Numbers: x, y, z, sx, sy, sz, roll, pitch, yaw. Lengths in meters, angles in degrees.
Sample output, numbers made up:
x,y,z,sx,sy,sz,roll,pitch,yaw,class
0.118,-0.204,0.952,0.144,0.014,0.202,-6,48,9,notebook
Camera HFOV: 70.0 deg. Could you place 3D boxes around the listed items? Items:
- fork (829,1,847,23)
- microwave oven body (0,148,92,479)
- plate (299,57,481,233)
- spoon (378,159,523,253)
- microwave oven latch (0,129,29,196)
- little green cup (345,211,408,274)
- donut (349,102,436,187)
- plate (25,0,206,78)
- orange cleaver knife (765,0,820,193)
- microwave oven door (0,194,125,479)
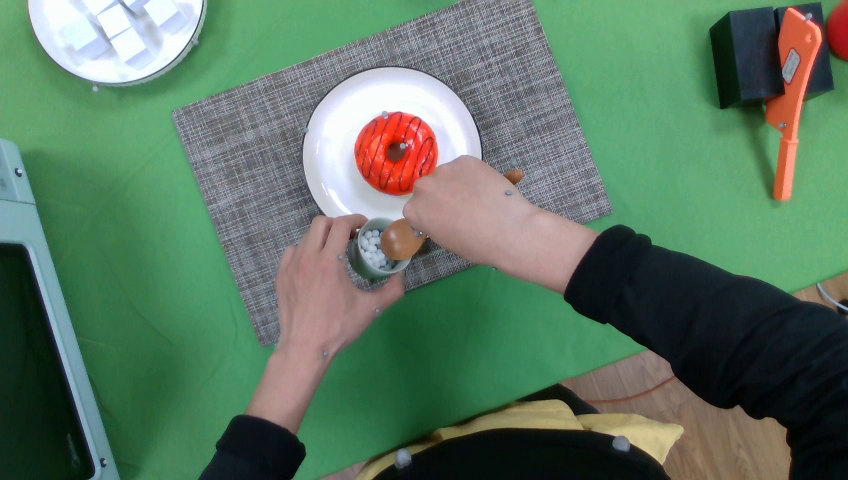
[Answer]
x,y,z,sx,sy,sz,roll,pitch,yaw,class
0.559,-0.258,0.652,0.206,0.019,0.028,8,87,42,fork
-0.569,0.124,0.593,0.326,0.260,0.441,-18,90,0,microwave oven body
-0.039,-0.104,0.704,0.209,0.038,0.209,0,90,1,plate
0.018,-0.030,0.560,0.022,0.193,0.041,-16,83,-41,spoon
-0.481,-0.088,0.691,0.030,0.029,0.079,-17,90,0,microwave oven latch
-0.050,0.005,0.621,0.062,0.038,0.061,13,64,-28,little green cup
-0.035,-0.108,0.693,0.099,0.048,0.099,0,92,1,donut
-0.355,-0.290,0.711,0.208,0.039,0.207,0,89,0,plate
0.406,-0.158,0.683,0.012,0.076,0.213,-6,118,3,orange cleaver knife
-0.417,0.120,0.587,0.039,0.244,0.355,-18,89,0,microwave oven door
